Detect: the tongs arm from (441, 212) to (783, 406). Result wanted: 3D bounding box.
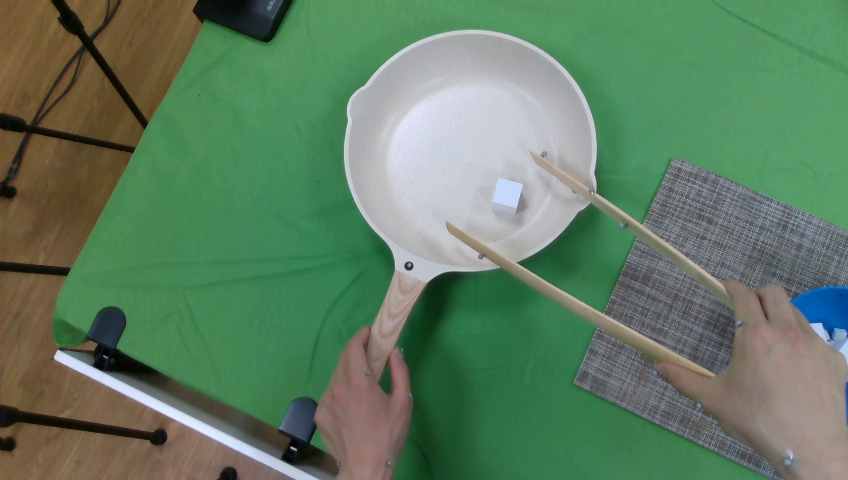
[{"bbox_3d":[0.141,0.048,0.580,0.028,0.028,0.383,-40,43,-17],"label":"tongs arm"}]

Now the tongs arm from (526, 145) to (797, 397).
[{"bbox_3d":[0.198,0.002,0.590,0.051,0.027,0.380,-35,43,-7],"label":"tongs arm"}]

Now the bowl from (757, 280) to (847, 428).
[{"bbox_3d":[0.425,0.122,0.652,0.151,0.077,0.151,-1,80,4],"label":"bowl"}]

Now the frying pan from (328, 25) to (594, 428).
[{"bbox_3d":[0.006,-0.019,0.697,0.306,0.103,0.486,24,74,9],"label":"frying pan"}]
